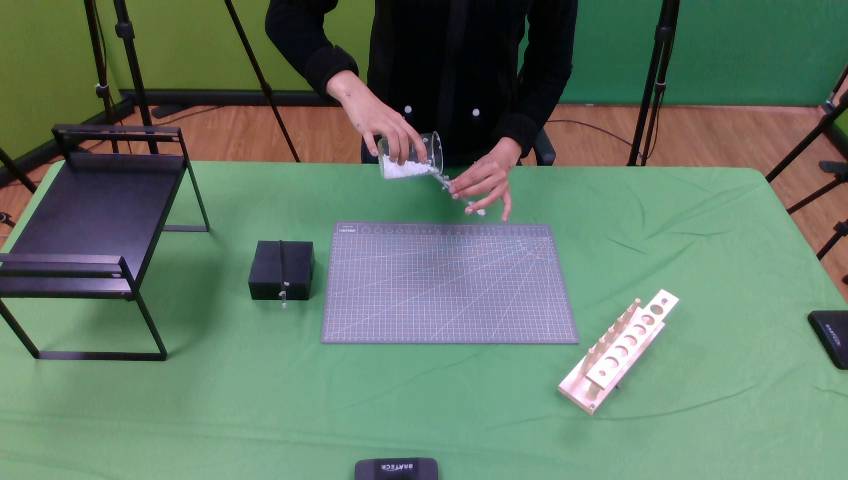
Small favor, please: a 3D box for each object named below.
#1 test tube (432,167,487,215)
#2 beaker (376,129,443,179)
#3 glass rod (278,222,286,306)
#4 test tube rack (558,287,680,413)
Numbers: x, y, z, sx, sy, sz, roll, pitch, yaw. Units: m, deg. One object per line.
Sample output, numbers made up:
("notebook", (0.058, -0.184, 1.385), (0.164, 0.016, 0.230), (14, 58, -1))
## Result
("test tube", (0.066, -0.086, 1.093), (0.017, 0.151, 0.017), (-27, 44, 30))
("beaker", (-0.026, -0.140, 1.012), (0.100, 0.084, 0.073), (-8, 47, -9))
("glass rod", (-0.255, 0.039, 1.081), (0.008, 0.008, 0.198), (-6, 47, -10))
("test tube rack", (0.327, 0.170, 1.009), (0.066, 0.085, 0.242), (36, 54, 26))
